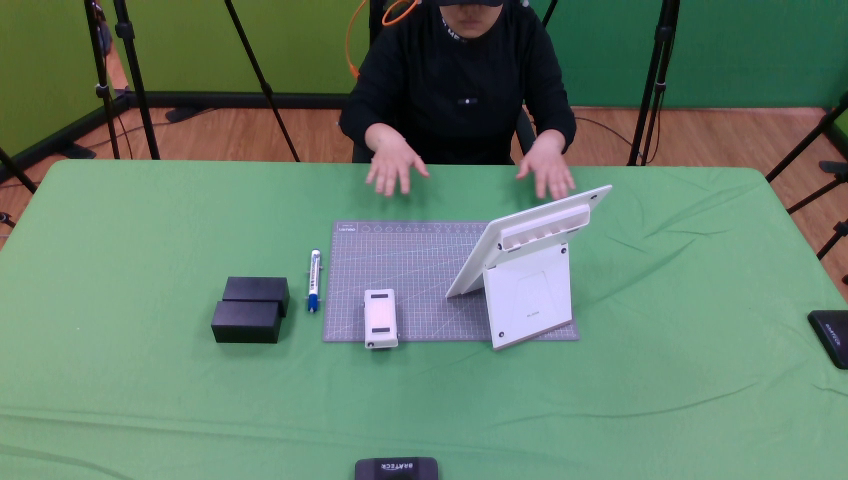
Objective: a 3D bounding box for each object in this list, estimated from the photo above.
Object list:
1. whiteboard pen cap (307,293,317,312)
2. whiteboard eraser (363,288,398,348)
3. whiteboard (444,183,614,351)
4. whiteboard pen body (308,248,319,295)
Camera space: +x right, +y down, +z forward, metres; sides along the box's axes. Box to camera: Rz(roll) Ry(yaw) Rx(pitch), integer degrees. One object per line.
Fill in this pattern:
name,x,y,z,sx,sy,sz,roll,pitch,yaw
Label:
whiteboard pen cap,-0.199,0.110,1.078,0.018,0.018,0.033,-2,47,-6
whiteboard eraser,-0.076,0.136,1.042,0.056,0.042,0.112,-1,46,-7
whiteboard,0.186,0.065,0.990,0.217,0.306,0.143,-16,69,-19
whiteboard pen body,-0.204,0.069,1.119,0.017,0.017,0.140,-1,46,-5
